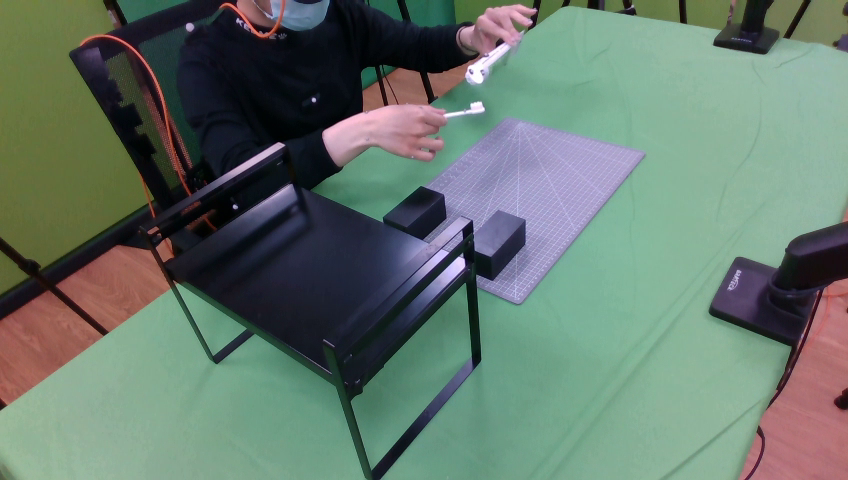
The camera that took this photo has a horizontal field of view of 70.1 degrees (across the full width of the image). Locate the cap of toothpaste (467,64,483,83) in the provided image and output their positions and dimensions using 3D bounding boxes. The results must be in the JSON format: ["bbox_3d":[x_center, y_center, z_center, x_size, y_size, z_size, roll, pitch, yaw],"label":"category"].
[{"bbox_3d":[0.085,-0.282,1.030,0.011,0.037,0.037,-27,23,42],"label":"cap of toothpaste"}]

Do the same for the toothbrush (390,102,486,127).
[{"bbox_3d":[0.020,-0.215,1.044,0.181,0.017,0.014,-5,39,25],"label":"toothbrush"}]

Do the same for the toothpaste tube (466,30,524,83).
[{"bbox_3d":[0.130,-0.329,1.095,0.034,0.055,0.165,41,56,9],"label":"toothpaste tube"}]
